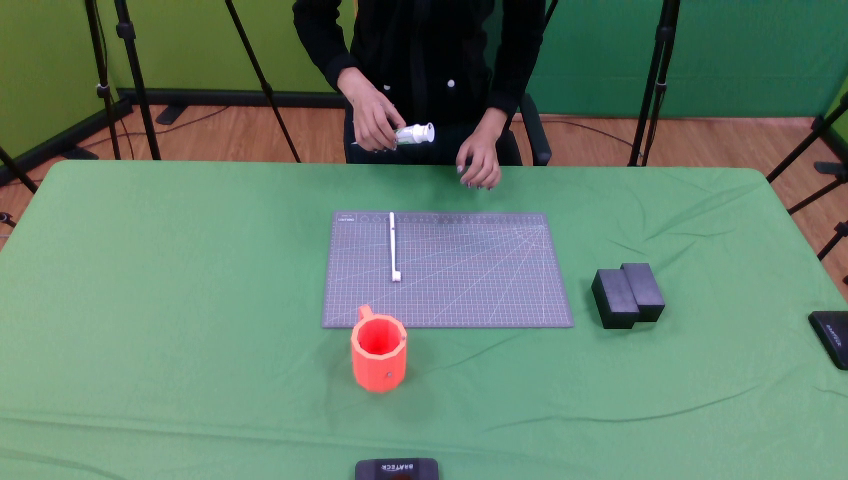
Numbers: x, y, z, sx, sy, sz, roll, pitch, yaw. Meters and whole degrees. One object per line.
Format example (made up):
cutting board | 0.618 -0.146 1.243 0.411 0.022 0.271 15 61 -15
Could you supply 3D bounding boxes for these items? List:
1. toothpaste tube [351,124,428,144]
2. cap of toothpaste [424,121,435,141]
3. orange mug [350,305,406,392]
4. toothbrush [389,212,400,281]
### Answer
toothpaste tube | -0.059 -0.197 1.153 0.164 0.034 0.055 -1 6 33
cap of toothpaste | 0.009 -0.198 1.107 0.011 0.037 0.037 3 44 21
orange mug | -0.080 0.168 0.978 0.083 0.101 0.125 -16 54 -18
toothbrush | -0.059 0.010 1.186 0.017 0.014 0.180 2 46 -8
